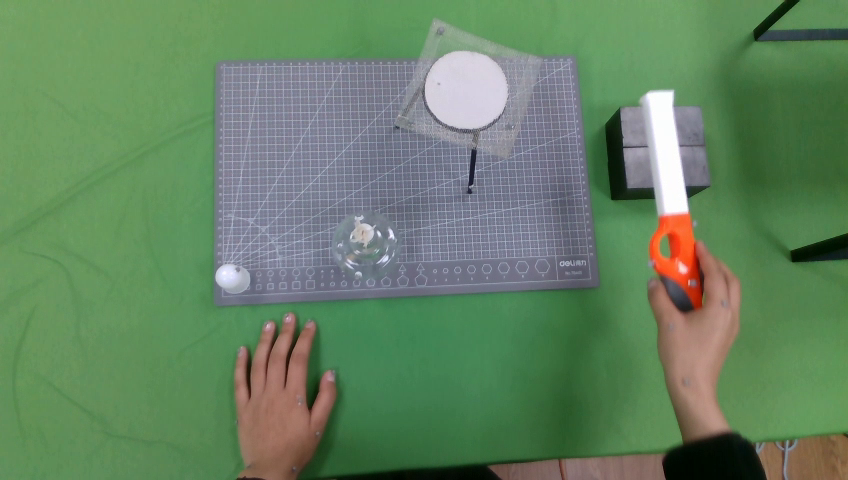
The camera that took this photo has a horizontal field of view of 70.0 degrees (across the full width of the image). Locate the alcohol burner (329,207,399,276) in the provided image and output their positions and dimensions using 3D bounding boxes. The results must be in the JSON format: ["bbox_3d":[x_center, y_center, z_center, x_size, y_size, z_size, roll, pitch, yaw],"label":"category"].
[{"bbox_3d":[-0.066,-0.001,0.657,0.078,0.119,0.077,1,80,-4],"label":"alcohol burner"}]

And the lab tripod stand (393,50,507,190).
[{"bbox_3d":[0.039,-0.145,0.682,0.148,0.132,0.147,1,77,-4],"label":"lab tripod stand"}]

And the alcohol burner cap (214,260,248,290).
[{"bbox_3d":[-0.217,0.037,0.674,0.034,0.048,0.033,1,79,-5],"label":"alcohol burner cap"}]

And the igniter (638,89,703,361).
[{"bbox_3d":[0.250,-0.017,0.618,0.057,0.025,0.276,-4,87,-12],"label":"igniter"}]

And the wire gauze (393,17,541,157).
[{"bbox_3d":[0.045,-0.155,0.616,0.121,0.011,0.124,20,77,-1],"label":"wire gauze"}]
